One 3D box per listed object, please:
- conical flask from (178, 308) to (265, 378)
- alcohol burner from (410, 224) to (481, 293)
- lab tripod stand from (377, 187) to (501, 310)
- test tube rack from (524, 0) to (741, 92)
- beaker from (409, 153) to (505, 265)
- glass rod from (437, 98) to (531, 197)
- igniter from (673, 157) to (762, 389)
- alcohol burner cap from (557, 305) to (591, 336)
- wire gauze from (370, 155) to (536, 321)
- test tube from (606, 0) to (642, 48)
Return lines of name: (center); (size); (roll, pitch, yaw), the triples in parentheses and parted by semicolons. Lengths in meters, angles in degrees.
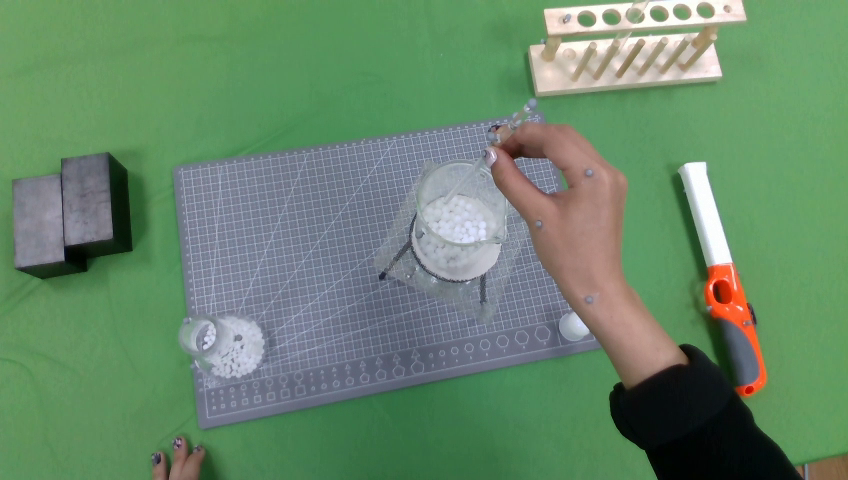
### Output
conical flask: (-0.206, 0.097, 0.603); (0.075, 0.122, 0.075); (1, 75, -4)
alcohol burner: (0.024, 0.016, 0.645); (0.078, 0.119, 0.077); (0, 76, -2)
lab tripod stand: (0.022, 0.010, 0.636); (0.148, 0.132, 0.147); (1, 77, -2)
test tube rack: (0.254, -0.243, 0.745); (0.243, 0.085, 0.066); (-6, 75, -5)
beaker: (0.028, -0.020, 0.526); (0.084, 0.100, 0.074); (39, 77, 7)
glass rod: (0.038, -0.063, 0.456); (0.008, 0.200, 0.008); (3, 77, -14)
igniter: (0.343, 0.033, 0.710); (0.057, 0.025, 0.275); (-5, 76, -16)
alcohol burner cap: (0.169, 0.087, 0.673); (0.034, 0.048, 0.033); (1, 74, -4)
wire gauze: (0.028, -0.005, 0.572); (0.125, 0.011, 0.121); (26, 78, 2)
test tube: (0.238, -0.268, 0.699); (0.017, 0.151, 0.017); (0, 75, -1)
